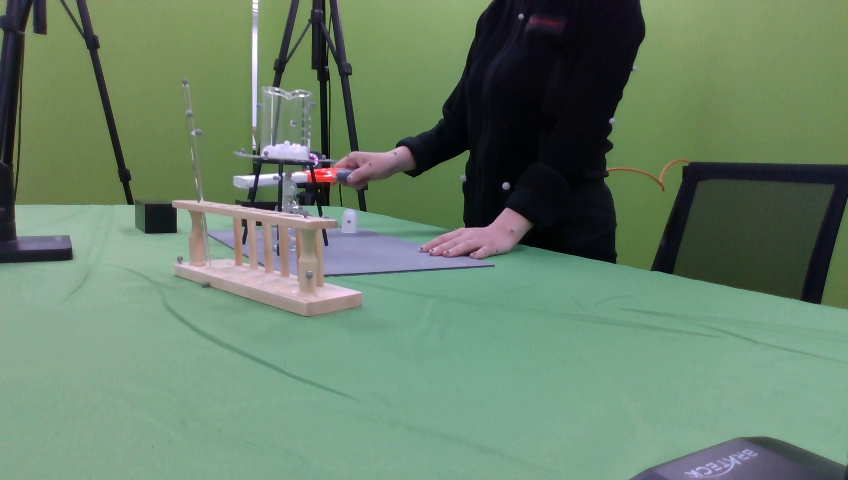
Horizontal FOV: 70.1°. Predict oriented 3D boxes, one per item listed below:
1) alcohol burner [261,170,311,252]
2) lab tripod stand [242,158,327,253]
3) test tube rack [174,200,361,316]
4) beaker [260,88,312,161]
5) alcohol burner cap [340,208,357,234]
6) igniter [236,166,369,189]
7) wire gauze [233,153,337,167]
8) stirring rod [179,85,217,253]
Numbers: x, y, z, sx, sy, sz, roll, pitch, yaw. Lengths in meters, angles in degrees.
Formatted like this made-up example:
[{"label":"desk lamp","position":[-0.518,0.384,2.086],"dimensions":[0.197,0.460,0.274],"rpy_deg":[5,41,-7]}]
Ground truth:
[{"label":"alcohol burner","position":[-0.200,-0.043,0.891],"dimensions":[0.078,0.119,0.078],"rpy_deg":[1,6,0]},{"label":"lab tripod stand","position":[-0.207,-0.054,0.895],"dimensions":[0.148,0.131,0.148],"rpy_deg":[2,5,0]},{"label":"test tube rack","position":[-0.169,0.009,0.622],"dimensions":[0.241,0.085,0.067],"rpy_deg":[9,9,41]},{"label":"beaker","position":[-0.200,-0.166,0.876],"dimensions":[0.074,0.100,0.083],"rpy_deg":[1,7,-18]},{"label":"alcohol burner cap","position":[-0.142,-0.035,1.136],"dimensions":[0.034,0.048,0.034],"rpy_deg":[1,6,0]},{"label":"igniter","position":[-0.208,-0.113,1.086],"dimensions":[0.057,0.025,0.278],"rpy_deg":[16,18,38]},{"label":"wire gauze","position":[-0.205,-0.119,0.887],"dimensions":[0.122,0.011,0.124],"rpy_deg":[2,4,-32]},{"label":"stirring rod","position":[-0.236,-0.073,0.634],"dimensions":[0.006,0.176,0.014],"rpy_deg":[0,10,42]}]
